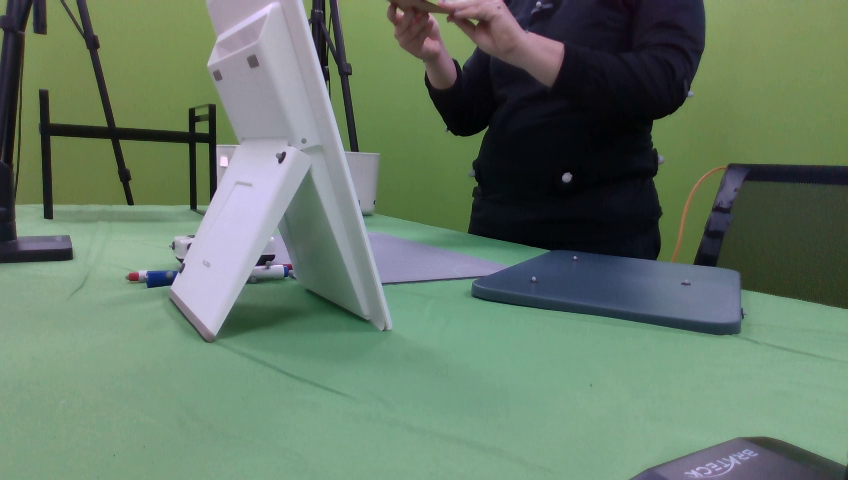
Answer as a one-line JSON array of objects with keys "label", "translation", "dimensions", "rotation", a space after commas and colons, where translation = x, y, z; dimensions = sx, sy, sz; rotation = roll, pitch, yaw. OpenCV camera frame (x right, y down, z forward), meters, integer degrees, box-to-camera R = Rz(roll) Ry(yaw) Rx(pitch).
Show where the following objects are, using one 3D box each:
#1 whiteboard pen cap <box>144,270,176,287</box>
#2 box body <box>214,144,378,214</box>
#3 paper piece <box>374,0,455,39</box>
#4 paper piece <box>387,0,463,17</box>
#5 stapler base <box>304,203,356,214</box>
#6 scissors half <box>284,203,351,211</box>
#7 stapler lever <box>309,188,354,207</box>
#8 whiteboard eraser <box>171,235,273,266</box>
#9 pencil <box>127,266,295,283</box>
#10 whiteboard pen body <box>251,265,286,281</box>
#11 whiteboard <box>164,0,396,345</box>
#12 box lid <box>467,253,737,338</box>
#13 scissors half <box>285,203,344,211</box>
[{"label": "whiteboard pen cap", "translation": [-0.271, 0.039, 0.627], "dimensions": [0.033, 0.018, 0.018], "rotation": [-3, 10, -32]}, {"label": "box body", "translation": [-0.328, -0.154, 1.543], "dimensions": [0.366, 0.160, 0.253], "rotation": [-2, 9, -32]}, {"label": "paper piece", "translation": [-0.038, -0.350, 0.928], "dimensions": [0.139, 0.008, 0.135], "rotation": [9, 26, -43]}, {"label": "paper piece", "translation": [-0.027, -0.366, 0.923], "dimensions": [0.136, 0.004, 0.134], "rotation": [1, 20, -44]}, {"label": "stapler base", "translation": [-0.235, -0.081, 1.510], "dimensions": [0.131, 0.024, 0.041], "rotation": [2, 9, -35]}, {"label": "scissors half", "translation": [-0.269, -0.081, 1.534], "dimensions": [0.176, 0.013, 0.040], "rotation": [-6, 9, -24]}, {"label": "stapler lever", "translation": [-0.231, -0.106, 1.509], "dimensions": [0.119, 0.040, 0.026], "rotation": [3, 9, -35]}, {"label": "whiteboard eraser", "translation": [-0.248, 0.014, 0.747], "dimensions": [0.113, 0.042, 0.055], "rotation": [-1, 10, -32]}, {"label": "pencil", "translation": [-0.231, 0.037, 0.691], "dimensions": [0.195, 0.012, 0.012], "rotation": [-2, 9, -34]}, {"label": "whiteboard pen body", "translation": [-0.220, 0.039, 0.656], "dimensions": [0.141, 0.017, 0.017], "rotation": [-2, 9, -30]}, {"label": "whiteboard", "translation": [-0.172, -0.053, 0.511], "dimensions": [0.144, 0.305, 0.216], "rotation": [-23, 19, -26]}, {"label": "box lid", "translation": [0.234, 0.055, 0.736], "dimensions": [0.262, 0.015, 0.373], "rotation": [7, 8, 26]}, {"label": "scissors half", "translation": [-0.280, -0.083, 1.552], "dimensions": [0.040, 0.013, 0.176], "rotation": [-1, 6, 45]}]
